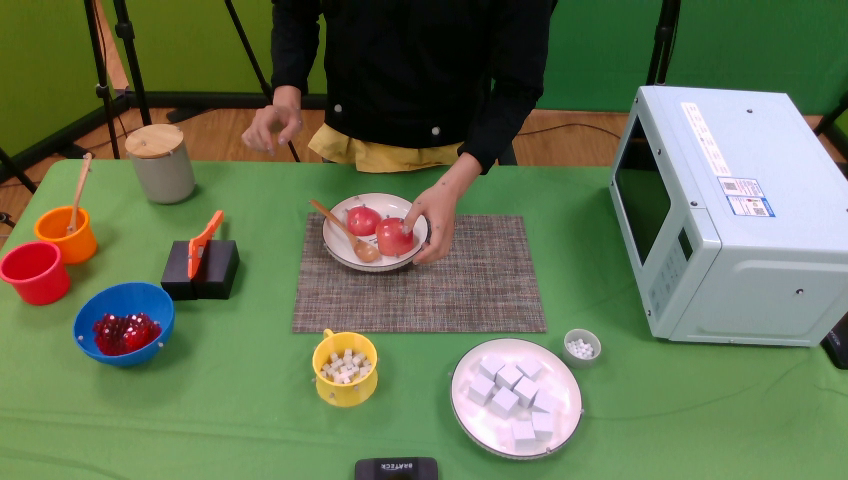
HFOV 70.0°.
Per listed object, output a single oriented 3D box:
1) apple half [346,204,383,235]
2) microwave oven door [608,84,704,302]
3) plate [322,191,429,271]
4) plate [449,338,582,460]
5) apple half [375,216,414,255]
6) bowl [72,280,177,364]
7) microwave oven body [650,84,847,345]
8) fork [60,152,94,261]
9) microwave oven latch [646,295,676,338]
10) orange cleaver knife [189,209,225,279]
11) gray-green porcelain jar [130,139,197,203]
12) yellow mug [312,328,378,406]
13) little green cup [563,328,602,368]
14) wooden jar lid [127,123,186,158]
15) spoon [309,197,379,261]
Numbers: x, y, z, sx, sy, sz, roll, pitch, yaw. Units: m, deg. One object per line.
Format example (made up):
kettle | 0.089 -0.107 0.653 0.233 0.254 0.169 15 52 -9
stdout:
apple half | -0.119 -0.049 1.206 0.081 0.033 0.081 3 49 -3
microwave oven door | 0.424 -0.096 1.138 0.039 0.245 0.353 2 47 -1
plate | -0.094 -0.015 1.185 0.209 0.038 0.208 2 46 -2
plate | 0.141 0.251 0.956 0.208 0.039 0.206 2 46 -2
apple half | -0.056 -0.017 1.169 0.075 0.053 0.080 0 47 -8
bowl | -0.473 0.147 0.982 0.151 0.077 0.150 2 46 -2
microwave oven body | 0.569 -0.054 1.116 0.326 0.261 0.439 2 46 -1
fork | -0.637 -0.063 1.119 0.028 0.019 0.207 11 90 16
microwave oven latch | 0.413 0.133 1.060 0.030 0.029 0.078 4 46 1
orange cleaver knife | -0.401 0.002 1.122 0.012 0.077 0.210 4 23 -4
gray-green porcelain jar | -0.522 -0.148 1.225 0.106 0.127 0.105 2 47 -2
yellow mug | -0.132 0.193 0.971 0.100 0.064 0.130 -22 51 -22
little green cup | 0.265 0.184 1.025 0.061 0.039 0.061 1 46 -1
wooden jar lid | -0.519 -0.190 1.179 0.108 0.021 0.107 2 44 -2
spoon | -0.158 -0.025 1.172 0.041 0.022 0.193 -40 72 -21
